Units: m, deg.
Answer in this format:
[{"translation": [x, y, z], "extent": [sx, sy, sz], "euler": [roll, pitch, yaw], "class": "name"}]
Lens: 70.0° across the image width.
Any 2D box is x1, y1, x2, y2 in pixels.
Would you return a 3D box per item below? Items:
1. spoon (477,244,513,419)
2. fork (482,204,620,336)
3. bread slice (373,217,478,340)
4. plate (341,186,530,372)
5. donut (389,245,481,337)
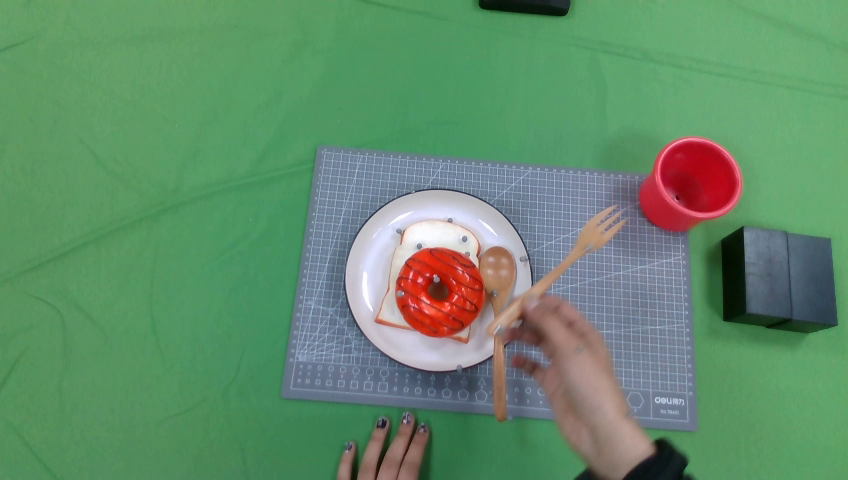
[{"translation": [0.076, 0.092, 0.648], "extent": [0.041, 0.022, 0.192], "euler": [3, 60, 1], "class": "spoon"}, {"translation": [0.121, 0.025, 0.556], "extent": [0.207, 0.018, 0.028], "euler": [-37, 94, -34], "class": "fork"}, {"translation": [0.007, 0.037, 0.677], "extent": [0.105, 0.019, 0.131], "euler": [11, 74, 0], "class": "bread slice"}, {"translation": [0.013, 0.043, 0.674], "extent": [0.209, 0.038, 0.208], "euler": [1, 73, -3], "class": "plate"}, {"translation": [0.012, 0.053, 0.642], "extent": [0.099, 0.048, 0.098], "euler": [1, 77, -5], "class": "donut"}]
